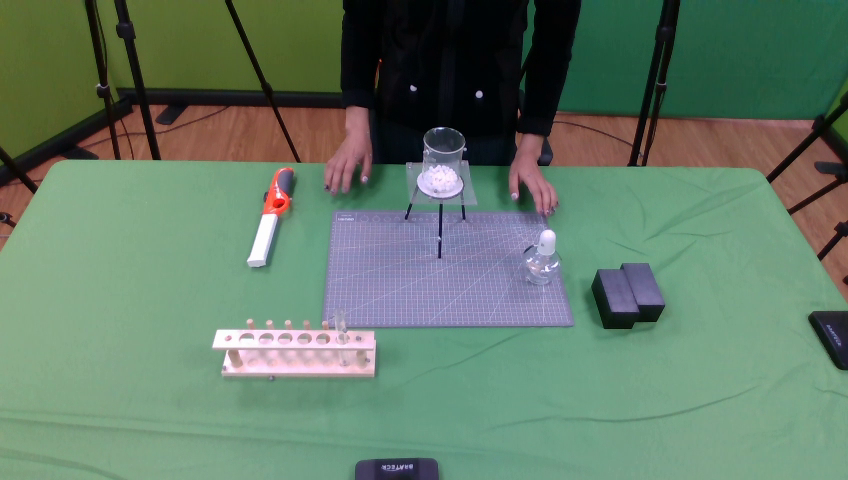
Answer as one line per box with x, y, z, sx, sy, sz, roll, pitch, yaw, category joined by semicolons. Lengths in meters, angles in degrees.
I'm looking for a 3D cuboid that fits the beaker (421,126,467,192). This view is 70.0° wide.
0.032;-0.146;1.100;0.074;0.101;0.083;-16;50;-20;beaker

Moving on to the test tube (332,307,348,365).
-0.128;0.151;0.931;0.017;0.151;0.017;1;50;-1;test tube

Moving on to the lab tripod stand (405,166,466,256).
0.030;-0.063;1.180;0.148;0.132;0.147;3;47;-3;lab tripod stand

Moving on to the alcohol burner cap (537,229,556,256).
0.223;0.001;1.095;0.034;0.048;0.033;-1;44;1;alcohol burner cap

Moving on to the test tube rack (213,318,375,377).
-0.202;0.169;0.977;0.242;0.085;0.066;1;46;-3;test tube rack

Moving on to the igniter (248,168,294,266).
-0.307;-0.055;1.225;0.057;0.025;0.275;-3;46;6;igniter

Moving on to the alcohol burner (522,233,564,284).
0.223;0.027;1.121;0.078;0.119;0.077;2;48;-2;alcohol burner

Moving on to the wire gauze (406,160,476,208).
0.031;-0.107;1.130;0.125;0.011;0.120;1;48;-7;wire gauze
